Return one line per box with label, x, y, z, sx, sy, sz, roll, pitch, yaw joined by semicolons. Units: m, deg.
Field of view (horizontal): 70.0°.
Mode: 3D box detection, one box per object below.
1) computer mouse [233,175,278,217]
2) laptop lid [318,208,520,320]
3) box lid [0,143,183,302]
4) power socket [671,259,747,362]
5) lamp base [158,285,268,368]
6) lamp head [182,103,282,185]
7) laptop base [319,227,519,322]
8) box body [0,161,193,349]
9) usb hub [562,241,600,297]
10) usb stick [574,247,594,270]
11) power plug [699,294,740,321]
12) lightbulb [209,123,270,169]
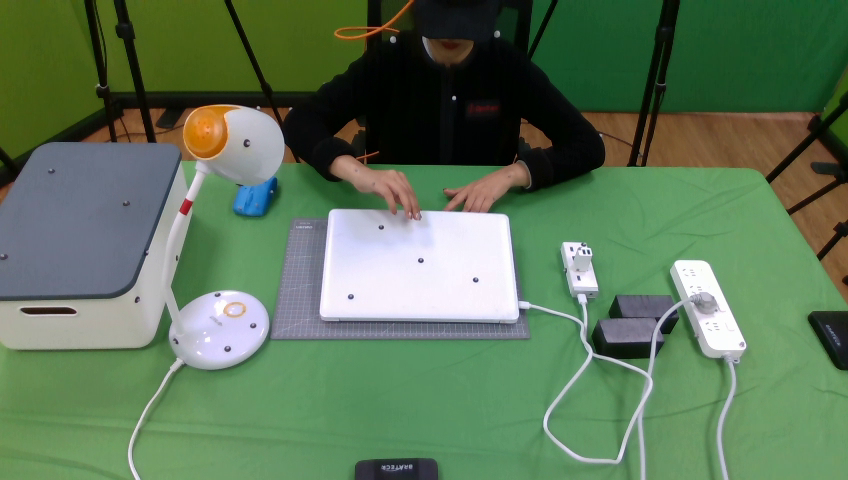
computer mouse;-0.349;-0.098;1.257;0.063;0.041;0.116;11;50;4
laptop lid;-0.008;0.038;1.111;0.357;0.013;0.240;3;57;-2
box lid;-0.567;-0.045;0.999;0.263;0.015;0.369;-1;46;-4
power socket;0.517;0.119;1.108;0.072;0.033;0.225;0;46;-2
lamp base;-0.348;0.102;0.963;0.160;0.181;0.178;23;51;18
lamp head;-0.271;-0.133;0.825;0.112;0.112;0.123;20;8;15
laptop base;-0.009;0.063;1.137;0.354;0.023;0.234;1;43;-3
box body;-0.570;0.006;1.054;0.254;0.161;0.361;-1;46;-4
usb hub;0.300;0.055;1.162;0.049;0.025;0.124;2;46;-3
usb stick;0.298;0.040;1.135;0.027;0.059;0.021;2;46;-4
power plug;0.515;0.127;1.070;0.035;0.053;0.072;-17;55;-6
lightbulb;-0.260;-0.136;0.847;0.059;0.108;0.059;-4;78;20
